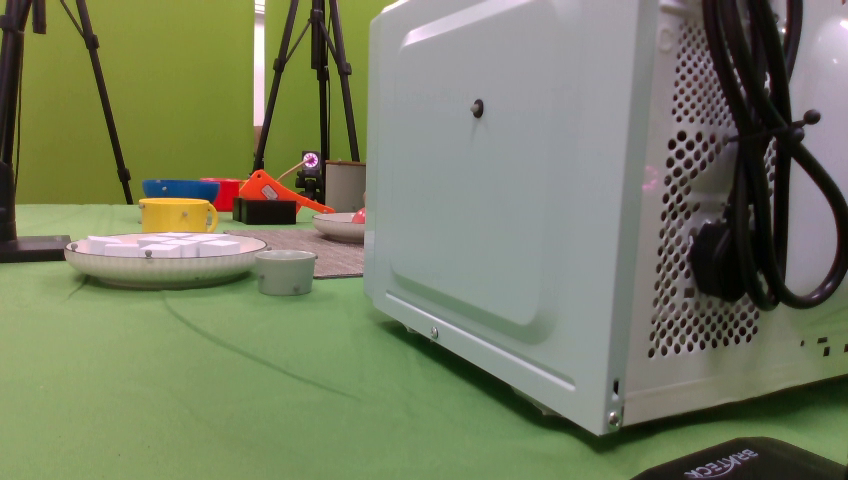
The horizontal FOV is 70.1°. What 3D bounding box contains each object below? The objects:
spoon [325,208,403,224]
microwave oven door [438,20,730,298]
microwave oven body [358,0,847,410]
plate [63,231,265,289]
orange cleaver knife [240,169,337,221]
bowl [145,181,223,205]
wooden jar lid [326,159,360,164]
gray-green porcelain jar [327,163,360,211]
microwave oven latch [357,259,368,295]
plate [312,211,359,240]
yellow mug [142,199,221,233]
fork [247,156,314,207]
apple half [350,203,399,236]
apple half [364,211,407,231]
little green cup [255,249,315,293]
[{"bbox_3d":[-0.121,-0.054,1.268,0.195,0.021,0.041,-14,16,-38],"label":"spoon"},{"bbox_3d":[0.181,-0.076,0.618,0.358,0.243,0.039,-2,8,-28],"label":"microwave oven door"},{"bbox_3d":[0.210,-0.051,0.471,0.444,0.260,0.324,-1,7,-28],"label":"microwave oven body"},{"bbox_3d":[-0.288,0.021,0.687,0.208,0.039,0.207,2,8,0],"label":"plate"},{"bbox_3d":[-0.287,-0.082,1.299,0.212,0.077,0.012,25,-2,-31],"label":"orange cleaver knife"},{"bbox_3d":[-0.499,-0.081,1.261,0.151,0.077,0.151,2,7,0],"label":"bowl"},{"bbox_3d":[-0.185,-0.187,1.481,0.108,0.020,0.108,4,6,0],"label":"wooden jar lid"},{"bbox_3d":[-0.187,-0.125,1.490,0.106,0.126,0.106,2,8,0],"label":"gray-green porcelain jar"},{"bbox_3d":[-0.019,0.031,0.529,0.079,0.029,0.030,-1,7,-26],"label":"microwave oven latch"},{"bbox_3d":[-0.091,-0.026,1.063,0.209,0.038,0.209,2,7,0],"label":"plate"},{"bbox_3d":[-0.372,-0.030,0.948,0.099,0.064,0.131,6,8,30],"label":"yellow mug"},{"bbox_3d":[-0.360,-0.147,1.523,0.207,0.018,0.028,-43,15,-7],"label":"fork"},{"bbox_3d":[-0.082,-0.036,1.024,0.081,0.053,0.074,-3,11,-34],"label":"apple half"},{"bbox_3d":[-0.068,-0.037,1.103,0.081,0.033,0.081,-1,9,0],"label":"apple half"},{"bbox_3d":[-0.144,0.031,0.627,0.061,0.038,0.061,2,6,0],"label":"little green cup"}]
